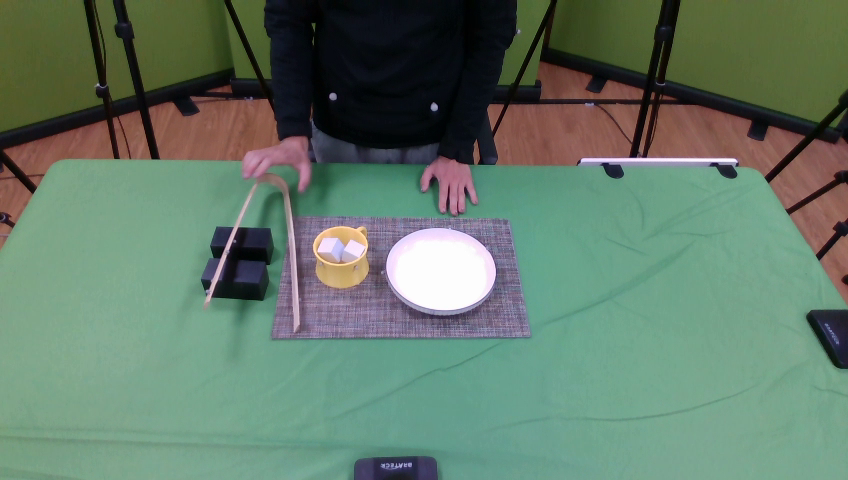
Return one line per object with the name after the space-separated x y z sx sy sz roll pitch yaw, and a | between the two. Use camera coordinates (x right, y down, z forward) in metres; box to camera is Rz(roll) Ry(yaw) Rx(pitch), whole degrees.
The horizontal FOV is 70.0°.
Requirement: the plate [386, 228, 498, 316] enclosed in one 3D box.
0.032 0.062 1.126 0.208 0.039 0.206 2 46 -2 | plate

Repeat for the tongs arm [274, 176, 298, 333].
-0.260 0.014 1.154 0.028 0.028 0.385 9 43 -26 | tongs arm

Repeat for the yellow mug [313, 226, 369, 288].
-0.146 0.021 1.132 0.099 0.064 0.130 24 49 19 | yellow mug

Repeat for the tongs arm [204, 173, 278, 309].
-0.331 -0.012 1.122 0.051 0.026 0.382 21 37 -18 | tongs arm
